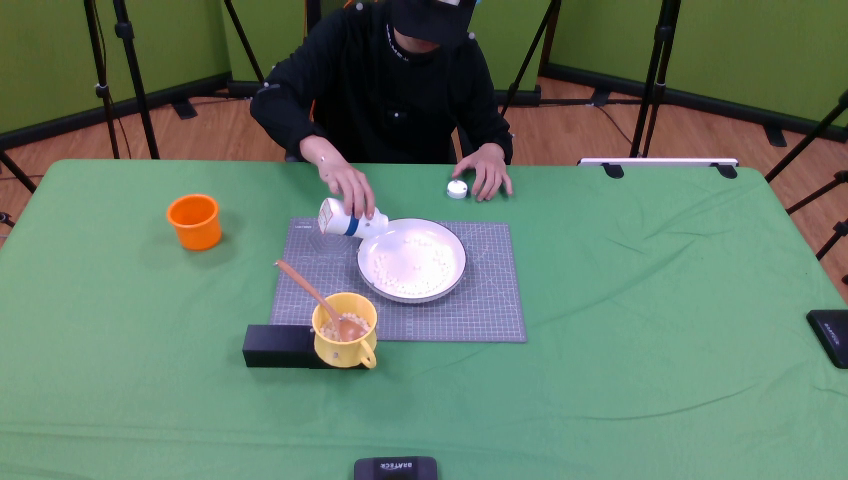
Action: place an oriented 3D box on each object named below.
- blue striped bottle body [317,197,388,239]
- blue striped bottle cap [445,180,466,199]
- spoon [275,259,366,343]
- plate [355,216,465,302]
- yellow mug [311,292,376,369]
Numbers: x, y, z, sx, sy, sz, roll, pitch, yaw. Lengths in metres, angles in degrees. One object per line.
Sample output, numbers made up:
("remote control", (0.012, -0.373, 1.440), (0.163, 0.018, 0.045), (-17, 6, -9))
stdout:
("blue striped bottle body", (-0.128, -0.037, 1.106), (0.121, 0.063, 0.062), (9, 40, -30))
("blue striped bottle cap", (0.069, -0.109, 1.313), (0.044, 0.021, 0.044), (4, 43, -3))
("spoon", (-0.161, 0.098, 0.946), (0.194, 0.021, 0.041), (48, 56, -5))
("plate", (-0.027, 0.039, 1.144), (0.208, 0.039, 0.206), (2, 46, -2))
("yellow mug", (-0.115, 0.149, 0.945), (0.100, 0.064, 0.130), (-30, 57, -28))
